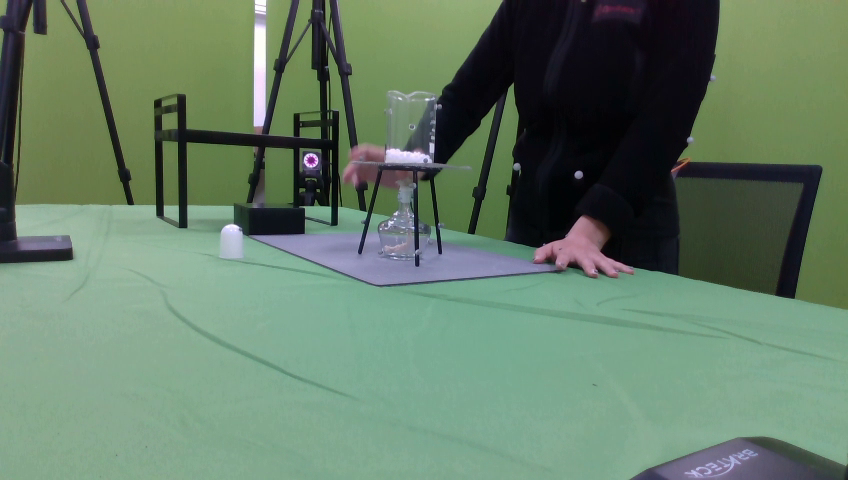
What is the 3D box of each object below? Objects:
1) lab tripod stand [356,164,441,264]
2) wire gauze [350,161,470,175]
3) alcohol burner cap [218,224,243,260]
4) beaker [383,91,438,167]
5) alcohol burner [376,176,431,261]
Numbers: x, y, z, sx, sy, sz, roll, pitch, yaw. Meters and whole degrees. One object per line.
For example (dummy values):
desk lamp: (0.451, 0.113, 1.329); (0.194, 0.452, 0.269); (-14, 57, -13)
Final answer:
lab tripod stand: (-0.024, -0.040, 0.859); (0.148, 0.131, 0.148); (2, 5, 0)
wire gauze: (-0.020, -0.104, 0.847); (0.121, 0.011, 0.126); (11, 8, 42)
alcohol burner cap: (-0.263, 0.002, 0.824); (0.034, 0.048, 0.034); (5, 8, 0)
beaker: (-0.020, -0.152, 0.838); (0.074, 0.100, 0.084); (4, 6, 7)
alcohol burner: (-0.029, -0.031, 0.859); (0.078, 0.119, 0.078); (2, 9, 0)
